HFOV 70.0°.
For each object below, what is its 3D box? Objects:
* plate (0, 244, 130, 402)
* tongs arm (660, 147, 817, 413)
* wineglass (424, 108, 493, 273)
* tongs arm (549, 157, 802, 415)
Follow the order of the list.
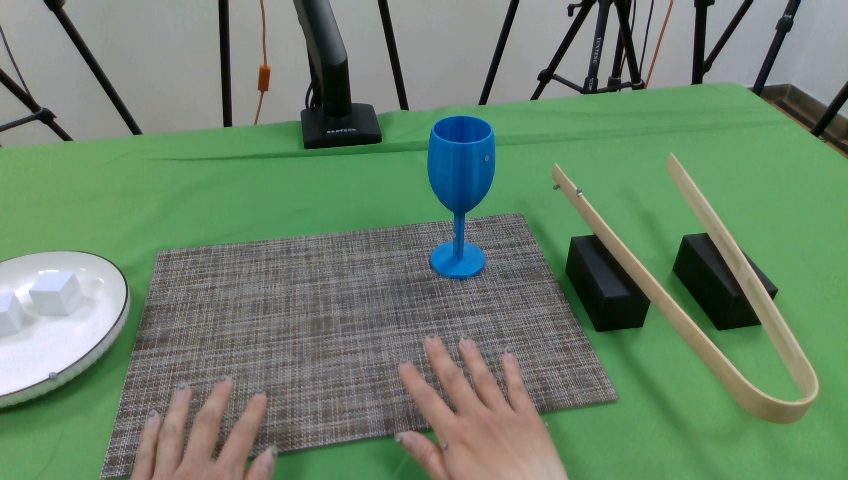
[{"bbox_3d":[-0.401,0.082,0.604,0.209,0.038,0.207,0,39,0],"label":"plate"},{"bbox_3d":[0.307,0.010,0.630,0.028,0.028,0.383,4,39,-4],"label":"tongs arm"},{"bbox_3d":[0.036,-0.050,0.656,0.074,0.174,0.073,0,39,0],"label":"wineglass"},{"bbox_3d":[0.227,0.019,0.619,0.051,0.027,0.380,-7,39,-12],"label":"tongs arm"}]
